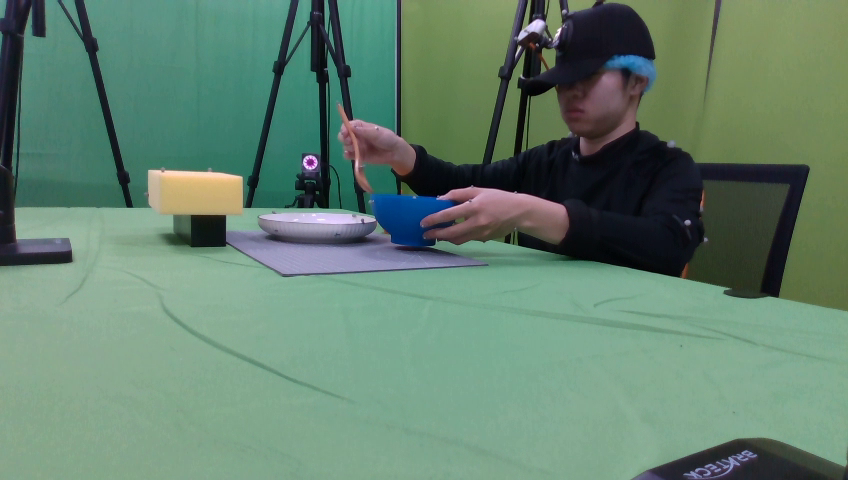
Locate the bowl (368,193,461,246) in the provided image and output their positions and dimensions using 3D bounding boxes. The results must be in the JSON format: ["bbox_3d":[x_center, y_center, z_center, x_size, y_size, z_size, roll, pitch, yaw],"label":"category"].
[{"bbox_3d":[-0.018,-0.033,0.982,0.151,0.077,0.151,4,5,0],"label":"bowl"}]

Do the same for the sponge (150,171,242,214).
[{"bbox_3d":[-0.379,-0.079,0.994,0.119,0.061,0.206,-1,7,-29],"label":"sponge"}]

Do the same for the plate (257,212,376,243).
[{"bbox_3d":[-0.189,-0.023,1.072,0.209,0.038,0.209,3,7,0],"label":"plate"}]

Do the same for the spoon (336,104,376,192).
[{"bbox_3d":[-0.123,-0.165,1.074,0.021,0.193,0.042,-23,-22,11],"label":"spoon"}]
